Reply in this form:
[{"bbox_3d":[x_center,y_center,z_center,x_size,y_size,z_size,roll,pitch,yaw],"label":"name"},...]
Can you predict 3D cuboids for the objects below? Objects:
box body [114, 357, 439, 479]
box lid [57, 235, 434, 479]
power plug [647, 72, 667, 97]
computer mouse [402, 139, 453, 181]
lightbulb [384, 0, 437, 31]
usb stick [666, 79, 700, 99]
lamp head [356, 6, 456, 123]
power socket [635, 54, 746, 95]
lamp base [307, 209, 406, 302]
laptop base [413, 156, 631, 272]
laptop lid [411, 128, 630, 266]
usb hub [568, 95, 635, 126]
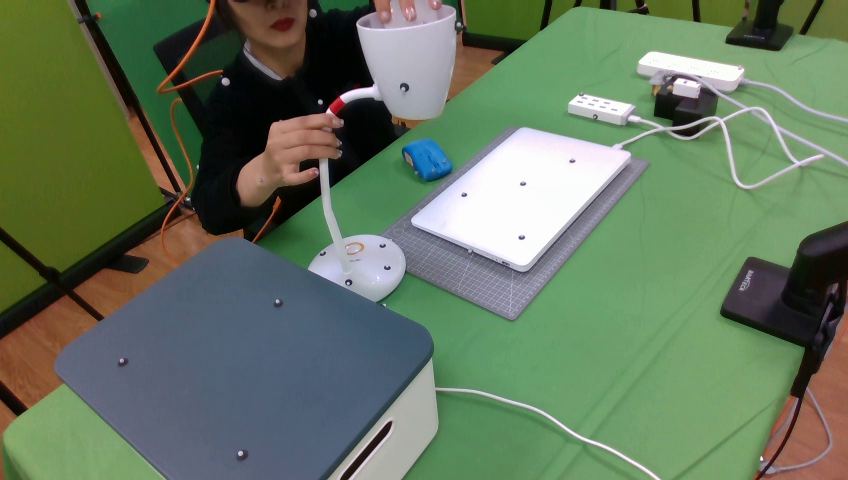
[{"bbox_3d":[-0.189,0.179,0.702,0.361,0.161,0.255,22,49,32],"label":"box body"},{"bbox_3d":[-0.198,0.123,0.653,0.368,0.015,0.264,22,49,32],"label":"box lid"},{"bbox_3d":[0.493,-0.321,1.261,0.073,0.052,0.035,1,20,-41],"label":"power plug"},{"bbox_3d":[0.005,-0.159,1.166,0.063,0.041,0.116,-21,45,-17],"label":"computer mouse"},{"bbox_3d":[-0.014,-0.223,0.692,0.059,0.108,0.059,-3,25,2],"label":"lightbulb"},{"bbox_3d":[0.492,-0.288,1.152,0.058,0.027,0.021,20,51,34],"label":"usb stick"},{"bbox_3d":[-0.018,-0.198,0.701,0.112,0.123,0.112,-1,33,1],"label":"lamp head"},{"bbox_3d":[0.564,-0.357,1.293,0.225,0.033,0.072,24,51,33],"label":"power socket"},{"bbox_3d":[-0.116,-0.003,0.889,0.161,0.181,0.178,-15,43,-5],"label":"lamp base"},{"bbox_3d":[0.176,-0.084,1.056,0.233,0.023,0.355,21,48,36],"label":"laptop base"},{"bbox_3d":[0.172,-0.093,1.049,0.239,0.013,0.358,24,50,36],"label":"laptop lid"},{"bbox_3d":[0.360,-0.264,1.228,0.124,0.025,0.049,24,49,34],"label":"usb hub"}]
